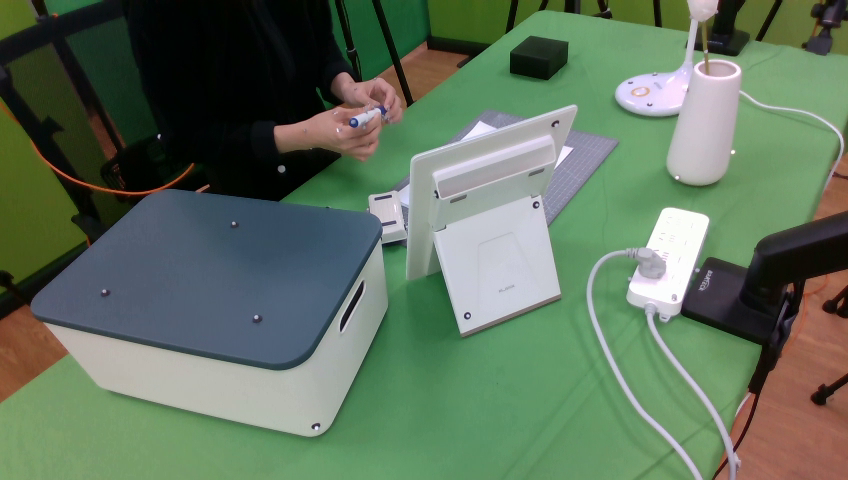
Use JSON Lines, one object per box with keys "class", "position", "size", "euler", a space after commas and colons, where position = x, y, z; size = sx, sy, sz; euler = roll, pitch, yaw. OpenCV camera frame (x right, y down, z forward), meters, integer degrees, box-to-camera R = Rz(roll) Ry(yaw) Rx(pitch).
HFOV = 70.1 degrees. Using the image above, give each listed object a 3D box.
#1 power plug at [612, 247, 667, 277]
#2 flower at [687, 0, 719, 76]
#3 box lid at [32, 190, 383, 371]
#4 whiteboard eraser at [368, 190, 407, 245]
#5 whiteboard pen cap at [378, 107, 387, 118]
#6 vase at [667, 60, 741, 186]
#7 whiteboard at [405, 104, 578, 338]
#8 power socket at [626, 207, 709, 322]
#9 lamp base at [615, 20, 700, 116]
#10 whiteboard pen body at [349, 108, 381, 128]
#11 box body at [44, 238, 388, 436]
{"class": "power plug", "position": [0.306, 0.031, 0.852], "size": [0.072, 0.053, 0.035], "euler": [21, 48, 37]}
{"class": "flower", "position": [0.436, -0.242, 0.934], "size": [0.038, 0.364, 0.043], "euler": [-24, 49, 9]}
{"class": "box lid", "position": [-0.257, 0.032, 0.750], "size": [0.370, 0.015, 0.263], "euler": [7, 41, 16]}
{"class": "whiteboard eraser", "position": [-0.061, -0.035, 1.006], "size": [0.056, 0.042, 0.112], "euler": [-9, 40, -3]}
{"class": "whiteboard pen cap", "position": [-0.077, -0.217, 1.031], "size": [0.018, 0.018, 0.033], "euler": [7, 22, 16]}
{"class": "vase", "position": [0.463, -0.189, 0.994], "size": [0.098, 0.201, 0.097], "euler": [-4, 40, 4]}
{"class": "whiteboard", "position": [0.102, 0.003, 0.787], "size": [0.218, 0.306, 0.143], "euler": [-19, 62, -14]}
{"class": "power socket", "position": [0.360, 0.026, 0.886], "size": [0.072, 0.033, 0.227], "euler": [17, 46, 27]}
{"class": "lamp base", "position": [0.484, -0.364, 1.211], "size": [0.180, 0.181, 0.159], "euler": [-15, 41, -14]}
{"class": "whiteboard pen body", "position": [-0.090, -0.199, 0.975], "size": [0.017, 0.017, 0.141], "euler": [5, 20, 14]}
{"class": "box body", "position": [-0.251, 0.088, 0.799], "size": [0.362, 0.161, 0.254], "euler": [7, 42, 16]}
